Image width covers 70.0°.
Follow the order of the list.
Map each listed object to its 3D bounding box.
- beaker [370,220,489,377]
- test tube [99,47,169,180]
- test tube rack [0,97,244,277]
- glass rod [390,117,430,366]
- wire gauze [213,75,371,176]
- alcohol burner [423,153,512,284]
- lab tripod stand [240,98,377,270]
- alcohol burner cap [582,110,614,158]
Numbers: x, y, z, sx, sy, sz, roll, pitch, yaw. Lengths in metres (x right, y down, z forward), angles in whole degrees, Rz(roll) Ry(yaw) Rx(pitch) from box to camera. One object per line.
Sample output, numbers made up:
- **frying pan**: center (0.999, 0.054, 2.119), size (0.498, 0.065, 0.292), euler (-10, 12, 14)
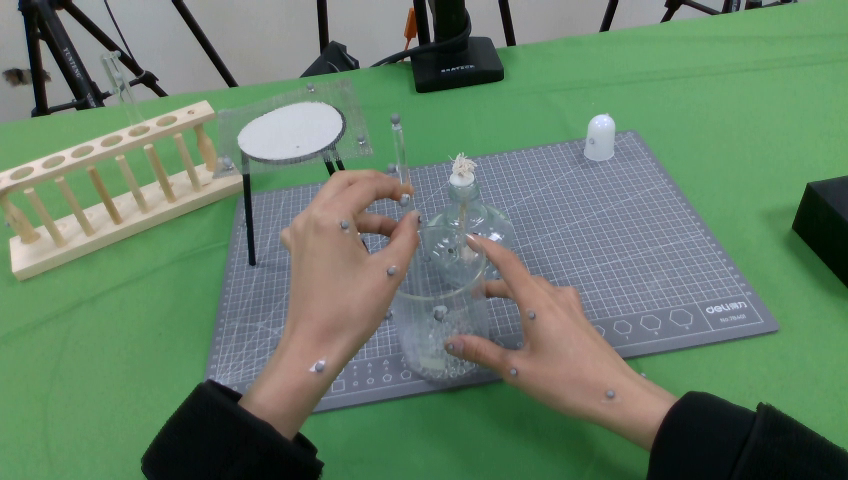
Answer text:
- **beaker**: center (0.009, 0.047, 0.451), size (0.084, 0.101, 0.073), euler (-4, 42, 6)
- **test tube**: center (-0.300, -0.126, 0.633), size (0.017, 0.151, 0.017), euler (-4, 39, 4)
- **test tube rack**: center (-0.323, -0.060, 0.639), size (0.242, 0.086, 0.066), euler (-26, 45, -19)
- **glass rod**: center (-0.009, 0.012, 0.414), size (0.008, 0.201, 0.008), euler (-4, 33, 3)
- **wire gauze**: center (-0.113, -0.096, 0.503), size (0.125, 0.011, 0.120), euler (-14, 42, -5)
- **alcohol burner**: center (0.035, -0.021, 0.510), size (0.078, 0.120, 0.077), euler (-5, 40, 5)
- **lab tripod stand**: center (-0.105, -0.047, 0.548), size (0.148, 0.133, 0.147), euler (-5, 44, 5)
- **alcohol burner cap**: center (0.185, -0.115, 0.644), size (0.034, 0.048, 0.033), euler (-4, 42, 4)
